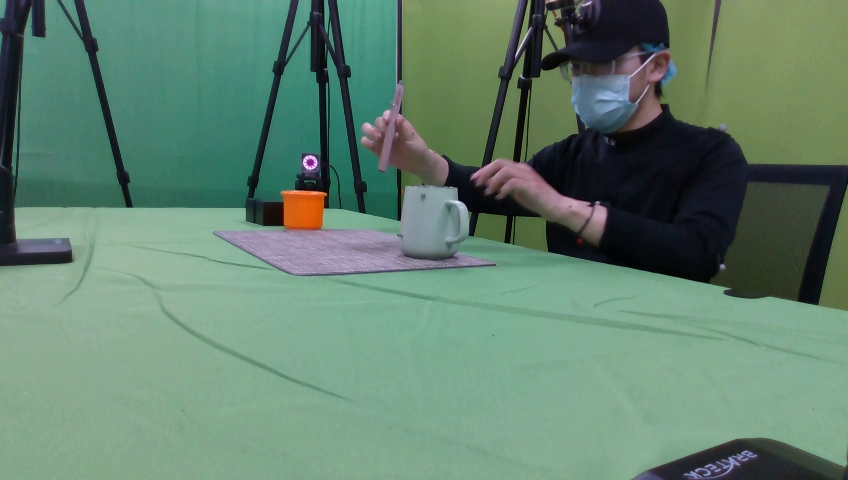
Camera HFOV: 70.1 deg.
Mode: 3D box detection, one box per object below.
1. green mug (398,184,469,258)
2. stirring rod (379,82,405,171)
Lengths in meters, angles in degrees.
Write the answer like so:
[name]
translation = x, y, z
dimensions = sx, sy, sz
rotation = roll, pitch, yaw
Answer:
[green mug]
translation = 0.020, -0.028, 0.890
dimensions = 0.093, 0.105, 0.124
rotation = -4, 9, -41
[stirring rod]
translation = -0.053, -0.195, 1.021
dimensions = 0.014, 0.176, 0.006
rotation = 19, -24, -22
